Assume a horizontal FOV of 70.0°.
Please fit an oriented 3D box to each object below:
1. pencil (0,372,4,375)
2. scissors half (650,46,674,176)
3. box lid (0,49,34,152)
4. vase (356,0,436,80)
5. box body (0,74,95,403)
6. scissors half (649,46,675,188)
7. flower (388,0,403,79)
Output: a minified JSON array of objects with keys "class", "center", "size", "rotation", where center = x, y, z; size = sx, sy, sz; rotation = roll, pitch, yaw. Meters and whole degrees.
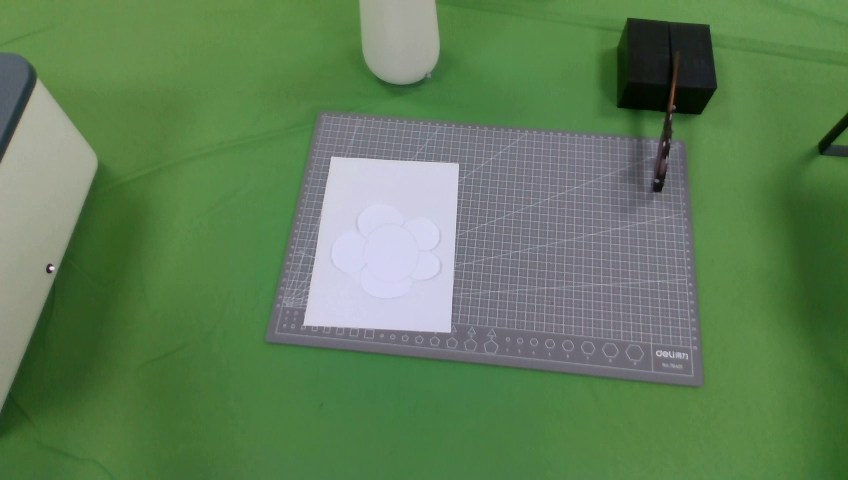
[{"class":"pencil","center":[-0.523,0.121,0.619],"size":[0.194,0.012,0.012],"rotation":[9,65,2]},{"class":"scissors half","center":[0.273,-0.150,0.683],"size":[0.013,0.040,0.174],"rotation":[10,66,15]},{"class":"box lid","center":[-0.525,-0.030,0.530],"size":[0.263,0.015,0.369],"rotation":[5,66,3]},{"class":"vase","center":[-0.036,-0.280,0.701],"size":[0.098,0.201,0.097],"rotation":[-1,64,2]},{"class":"box body","center":[-0.523,0.003,0.596],"size":[0.254,0.161,0.361],"rotation":[5,66,3]},{"class":"scissors half","center":[0.278,-0.144,0.702],"size":[0.012,0.040,0.175],"rotation":[9,84,20]},{"class":"flower","center":[-0.043,-0.328,0.631],"size":[0.044,0.365,0.038],"rotation":[-2,47,4]}]
